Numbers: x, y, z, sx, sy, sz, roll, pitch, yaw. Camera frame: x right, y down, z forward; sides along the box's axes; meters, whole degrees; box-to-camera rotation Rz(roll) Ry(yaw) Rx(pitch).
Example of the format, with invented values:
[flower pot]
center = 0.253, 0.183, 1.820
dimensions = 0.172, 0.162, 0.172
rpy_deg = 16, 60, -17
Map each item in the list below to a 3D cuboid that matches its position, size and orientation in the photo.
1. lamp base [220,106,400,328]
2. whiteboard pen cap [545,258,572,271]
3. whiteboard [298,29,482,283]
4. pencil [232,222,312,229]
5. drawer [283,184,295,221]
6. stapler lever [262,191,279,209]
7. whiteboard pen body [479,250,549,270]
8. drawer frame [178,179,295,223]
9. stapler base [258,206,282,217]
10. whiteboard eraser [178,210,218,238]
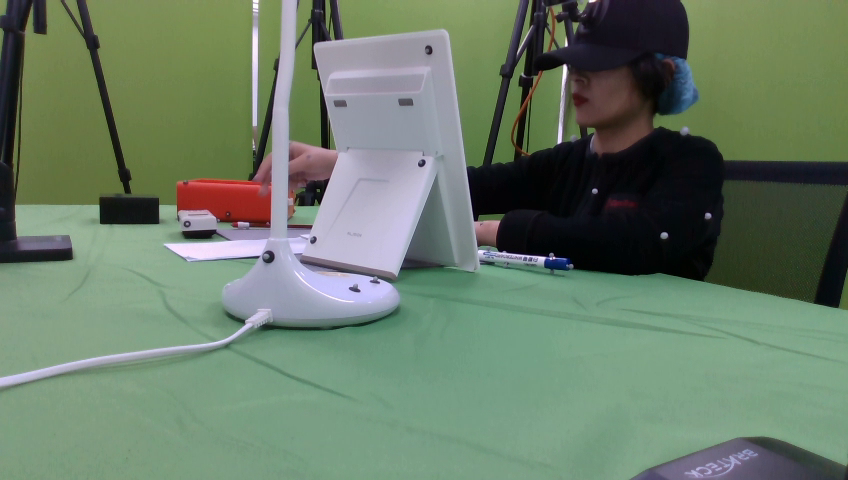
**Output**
[lamp base]
center = -0.101, -0.023, 0.531
dimensions = 0.160, 0.180, 0.179
rpy_deg = 4, 10, 10
[whiteboard pen cap]
center = 0.175, 0.032, 0.790
dimensions = 0.033, 0.018, 0.018
rpy_deg = 4, 7, 37
[whiteboard]
center = -0.075, -0.082, 0.741
dimensions = 0.216, 0.305, 0.144
rpy_deg = 9, 29, 37
[pencil]
center = -0.261, -0.025, 1.140
dimensions = 0.195, 0.012, 0.012
rpy_deg = 1, 7, -26
[drawer]
center = -0.394, -0.086, 1.317
dimensions = 0.212, 0.073, 0.194
rpy_deg = 1, 8, -7
[stapler lever]
center = -0.329, -0.086, 1.306
dimensions = 0.027, 0.040, 0.118
rpy_deg = 9, 3, -9
[whiteboard pen body]
center = 0.130, 0.028, 0.827
dimensions = 0.140, 0.017, 0.017
rpy_deg = 7, 9, 38
[drawer frame]
center = -0.397, -0.088, 1.315
dimensions = 0.214, 0.082, 0.201
rpy_deg = 1, 8, -8
[stapler base]
center = -0.331, -0.064, 1.305
dimensions = 0.041, 0.024, 0.130
rpy_deg = 9, -2, -9
[whiteboard eraser]
center = -0.380, -0.027, 1.014
dimensions = 0.056, 0.042, 0.112
rpy_deg = 0, 8, -25
